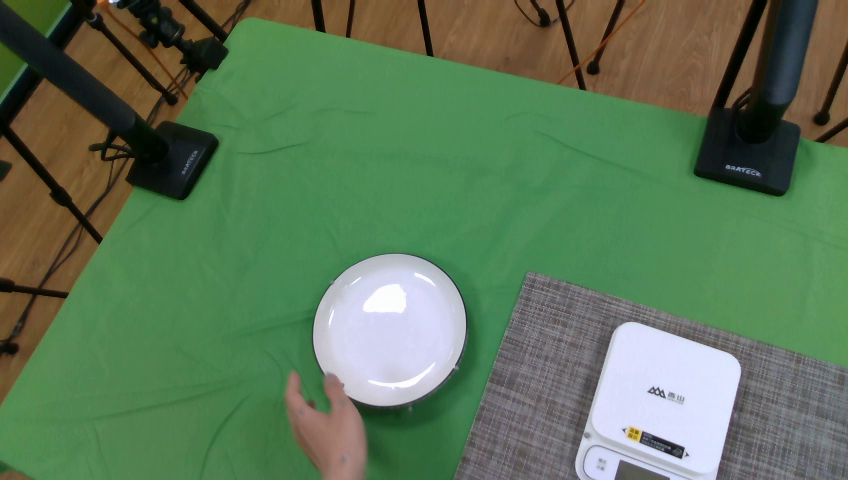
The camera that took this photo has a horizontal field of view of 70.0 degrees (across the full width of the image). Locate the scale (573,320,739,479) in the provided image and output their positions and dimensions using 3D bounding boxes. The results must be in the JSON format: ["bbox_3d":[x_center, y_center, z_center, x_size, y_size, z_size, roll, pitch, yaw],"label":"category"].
[{"bbox_3d":[0.271,0.204,0.709,0.148,0.032,0.200,18,71,17],"label":"scale"}]

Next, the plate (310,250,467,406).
[{"bbox_3d":[-0.046,0.115,0.801,0.209,0.038,0.207,-3,67,8],"label":"plate"}]
